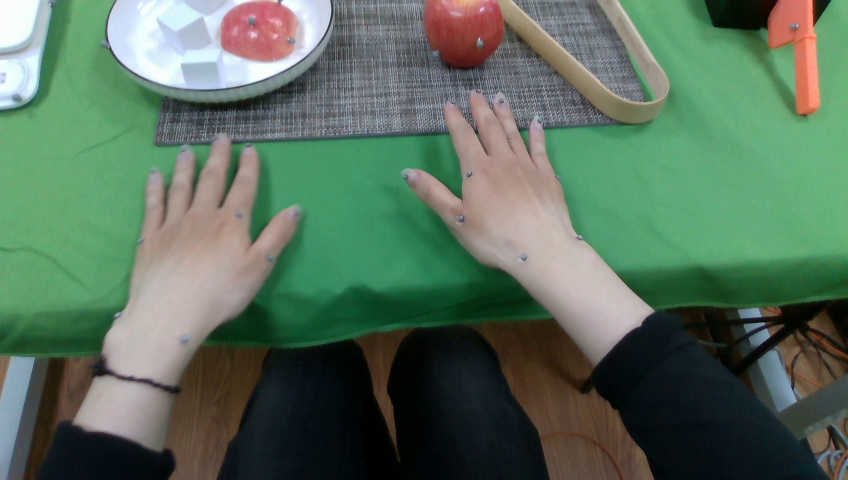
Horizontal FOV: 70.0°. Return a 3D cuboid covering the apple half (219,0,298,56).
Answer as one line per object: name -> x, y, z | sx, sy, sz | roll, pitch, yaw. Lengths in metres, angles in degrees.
apple half -> -0.160, -0.214, 0.578 | 0.081, 0.033, 0.080 | 3, 58, -5

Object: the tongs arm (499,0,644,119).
tongs arm -> 0.085, -0.256, 0.627 | 0.028, 0.028, 0.384 | -25, 63, -21

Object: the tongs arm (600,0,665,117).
tongs arm -> 0.162, -0.282, 0.645 | 0.051, 0.027, 0.381 | -14, 61, -12

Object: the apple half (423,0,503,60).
apple half -> 0.028, -0.206, 0.567 | 0.053, 0.075, 0.080 | -39, 71, -19

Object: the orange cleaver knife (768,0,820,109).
orange cleaver knife -> 0.364, -0.229, 0.595 | 0.012, 0.077, 0.211 | 1, 88, -6

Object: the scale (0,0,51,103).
scale -> -0.437, -0.205, 0.573 | 0.149, 0.032, 0.199 | -8, 60, -7

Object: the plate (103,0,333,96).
plate -> -0.190, -0.209, 0.579 | 0.209, 0.038, 0.207 | 1, 58, -2
